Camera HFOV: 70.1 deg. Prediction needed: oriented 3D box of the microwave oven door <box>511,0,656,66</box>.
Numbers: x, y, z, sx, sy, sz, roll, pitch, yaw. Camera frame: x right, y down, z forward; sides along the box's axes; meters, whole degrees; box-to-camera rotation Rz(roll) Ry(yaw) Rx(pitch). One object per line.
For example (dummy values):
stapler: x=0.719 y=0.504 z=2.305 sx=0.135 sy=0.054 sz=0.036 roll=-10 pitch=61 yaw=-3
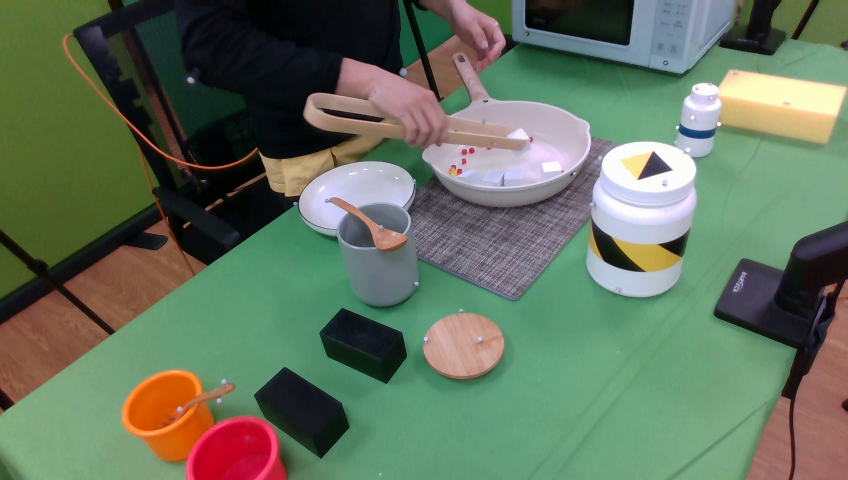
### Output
microwave oven door: x=0.351 y=-0.540 z=1.349 sx=0.353 sy=0.245 sz=0.039 roll=24 pitch=50 yaw=31

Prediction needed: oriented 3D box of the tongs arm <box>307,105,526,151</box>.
tongs arm: x=0.006 y=-0.168 z=0.949 sx=0.391 sy=0.027 sz=0.028 roll=1 pitch=54 yaw=-32

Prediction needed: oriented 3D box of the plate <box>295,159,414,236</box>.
plate: x=-0.118 y=-0.070 z=1.055 sx=0.207 sy=0.039 sz=0.206 roll=-5 pitch=40 yaw=5

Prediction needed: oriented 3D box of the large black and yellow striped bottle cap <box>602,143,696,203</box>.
large black and yellow striped bottle cap: x=0.289 y=-0.088 z=0.779 sx=0.115 sy=0.019 sz=0.114 roll=-5 pitch=39 yaw=4

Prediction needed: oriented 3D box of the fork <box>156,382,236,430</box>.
fork: x=-0.262 y=0.189 z=0.690 sx=0.018 sy=0.206 sz=0.028 roll=49 pitch=43 yaw=-6

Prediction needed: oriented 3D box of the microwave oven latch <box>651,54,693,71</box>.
microwave oven latch: x=0.531 y=-0.386 z=1.301 sx=0.078 sy=0.029 sz=0.030 roll=26 pitch=51 yaw=33

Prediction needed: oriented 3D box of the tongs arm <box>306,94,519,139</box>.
tongs arm: x=-0.001 y=-0.185 z=0.961 sx=0.388 sy=0.026 sz=0.050 roll=5 pitch=48 yaw=-29

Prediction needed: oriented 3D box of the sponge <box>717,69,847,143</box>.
sponge: x=0.663 y=-0.256 z=1.142 sx=0.205 sy=0.061 sz=0.118 roll=19 pitch=47 yaw=28

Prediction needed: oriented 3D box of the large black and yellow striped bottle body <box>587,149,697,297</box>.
large black and yellow striped bottle body: x=0.298 y=-0.026 z=0.835 sx=0.131 sy=0.185 sz=0.130 roll=-4 pitch=41 yaw=4

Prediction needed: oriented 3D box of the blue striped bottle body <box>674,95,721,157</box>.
blue striped bottle body: x=0.486 y=-0.213 z=1.071 sx=0.063 sy=0.121 sz=0.063 roll=-4 pitch=41 yaw=4

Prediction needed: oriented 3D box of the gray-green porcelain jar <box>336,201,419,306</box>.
gray-green porcelain jar: x=-0.064 y=0.024 z=0.872 sx=0.106 sy=0.127 sz=0.105 roll=-4 pitch=41 yaw=4

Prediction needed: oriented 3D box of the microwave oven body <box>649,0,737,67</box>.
microwave oven body: x=0.475 y=-0.602 z=1.411 sx=0.438 sy=0.261 sz=0.327 roll=23 pitch=50 yaw=32

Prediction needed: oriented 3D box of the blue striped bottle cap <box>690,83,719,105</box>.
blue striped bottle cap: x=0.481 y=-0.251 z=1.038 sx=0.044 sy=0.021 sz=0.044 roll=-5 pitch=40 yaw=5

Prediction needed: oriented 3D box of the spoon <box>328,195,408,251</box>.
spoon: x=-0.083 y=-0.029 z=0.829 sx=0.042 sy=0.022 sz=0.192 roll=-31 pitch=42 yaw=-22

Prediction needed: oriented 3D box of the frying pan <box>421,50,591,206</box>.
frying pan: x=0.127 y=-0.233 z=1.155 sx=0.307 sy=0.103 sz=0.484 roll=-11 pitch=49 yaw=-5

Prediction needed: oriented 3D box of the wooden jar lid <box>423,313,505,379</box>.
wooden jar lid: x=0.053 y=0.142 z=0.800 sx=0.108 sy=0.021 sz=0.108 roll=-5 pitch=39 yaw=4
